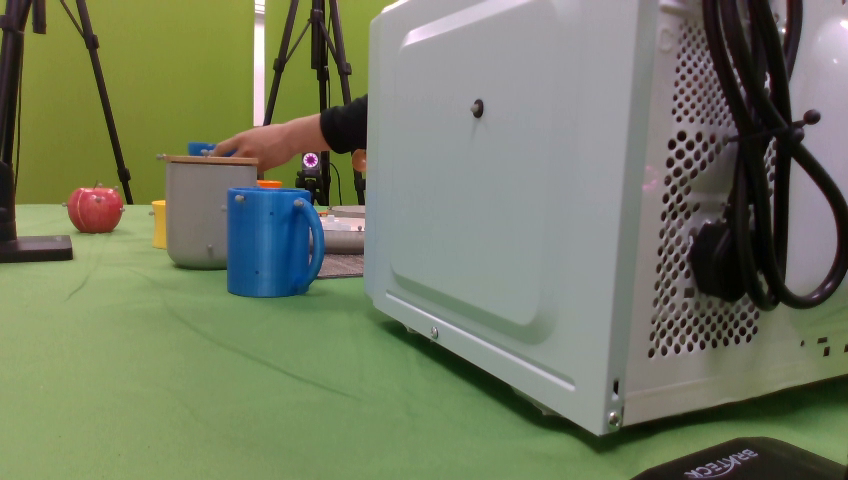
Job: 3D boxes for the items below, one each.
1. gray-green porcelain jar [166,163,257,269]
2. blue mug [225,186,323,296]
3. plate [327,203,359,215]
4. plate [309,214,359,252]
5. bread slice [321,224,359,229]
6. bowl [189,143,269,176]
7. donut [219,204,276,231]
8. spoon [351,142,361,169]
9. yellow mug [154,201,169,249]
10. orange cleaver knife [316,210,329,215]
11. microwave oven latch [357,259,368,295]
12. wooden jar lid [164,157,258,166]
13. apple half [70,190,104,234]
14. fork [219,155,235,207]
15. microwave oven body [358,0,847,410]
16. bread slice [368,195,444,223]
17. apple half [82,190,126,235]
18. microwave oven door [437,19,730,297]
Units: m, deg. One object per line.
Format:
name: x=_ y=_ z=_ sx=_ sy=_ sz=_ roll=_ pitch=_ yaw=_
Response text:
gray-green porcelain jar: x=-0.263 y=-0.031 z=0.754 sx=0.106 sy=0.126 sz=0.106 roll=2 pitch=7 yaw=0
blue mug: x=-0.148 y=0.000 z=0.618 sx=0.116 sy=0.106 sz=0.083 roll=7 pitch=9 yaw=33
plate: x=-0.102 y=-0.053 z=1.299 sx=0.209 sy=0.038 sz=0.209 roll=2 pitch=8 yaw=0
plate: x=-0.130 y=-0.011 z=0.945 sx=0.208 sy=0.039 sz=0.207 roll=2 pitch=8 yaw=0
bread slice: x=-0.124 y=-0.010 z=0.938 sx=0.131 sy=0.019 sz=0.105 roll=7 pitch=8 yaw=32
bowl: x=-0.383 y=-0.144 z=1.188 sx=0.151 sy=0.077 sz=0.151 roll=6 pitch=9 yaw=-1
donut: x=-0.316 y=-0.039 z=1.083 sx=0.099 sy=0.048 sz=0.099 roll=3 pitch=8 yaw=0
spoon: x=-0.132 y=-0.240 z=1.361 sx=0.042 sy=0.193 sz=0.021 roll=19 pitch=-25 yaw=-22
yellow mug: x=-0.337 y=-0.022 z=0.899 sx=0.130 sy=0.064 sz=0.100 roll=8 pitch=9 yaw=34
orange cleaver knife: x=-0.259 y=-0.064 z=1.423 sx=0.212 sy=0.012 sz=0.077 roll=-4 pitch=3 yaw=-30
microwave oven latch: x=-0.019 y=0.031 z=0.529 sx=0.079 sy=0.029 sz=0.030 roll=-1 pitch=7 yaw=-26
wooden jar lid: x=-0.261 y=-0.093 z=0.746 sx=0.108 sy=0.020 sz=0.108 roll=1 pitch=9 yaw=0
apple half: x=-0.552 y=-0.047 z=1.009 sx=0.053 sy=0.074 sz=0.081 roll=0 pitch=9 yaw=26
fork: x=-0.459 y=-0.134 z=1.415 sx=0.028 sy=0.018 sz=0.207 roll=-1 pitch=-34 yaw=-25
microwave oven body: x=0.210 y=-0.051 z=0.471 sx=0.444 sy=0.260 sz=0.324 roll=-1 pitch=7 yaw=-28
bread slice: x=-0.040 y=-0.058 z=1.142 sx=0.107 sy=0.018 sz=0.134 roll=-8 pitch=-9 yaw=-40
apple half: x=-0.516 y=-0.046 z=0.994 sx=0.032 sy=0.081 sz=0.081 roll=0 pitch=6 yaw=26
microwave oven door: x=0.180 y=-0.076 z=0.618 sx=0.358 sy=0.243 sz=0.039 roll=-2 pitch=9 yaw=-28
